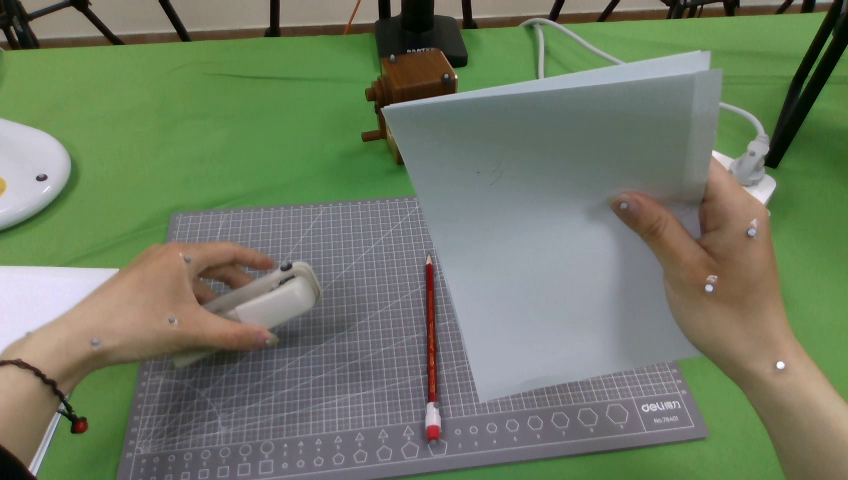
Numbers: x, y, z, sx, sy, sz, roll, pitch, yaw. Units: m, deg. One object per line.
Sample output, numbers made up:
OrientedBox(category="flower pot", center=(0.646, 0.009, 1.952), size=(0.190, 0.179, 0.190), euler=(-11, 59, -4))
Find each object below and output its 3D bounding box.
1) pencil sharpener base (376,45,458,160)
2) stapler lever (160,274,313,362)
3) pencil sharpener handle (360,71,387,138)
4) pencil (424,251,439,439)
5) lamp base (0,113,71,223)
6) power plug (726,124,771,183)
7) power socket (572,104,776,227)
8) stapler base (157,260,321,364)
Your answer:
OrientedBox(category="pencil sharpener base", center=(-0.010, -0.149, 0.670), size=(0.077, 0.108, 0.060), euler=(-13, 50, -13))
OrientedBox(category="stapler lever", center=(-0.143, 0.060, 0.469), size=(0.118, 0.040, 0.027), euler=(-24, 98, -12))
OrientedBox(category="pencil sharpener handle", center=(-0.057, -0.143, 0.644), size=(0.031, 0.068, 0.035), euler=(-14, 28, -13))
OrientedBox(category="pencil", center=(0.005, 0.080, 0.528), size=(0.012, 0.012, 0.192), euler=(1, 47, -1))
OrientedBox(category="lamp base", center=(-0.464, -0.128, 0.583), size=(0.161, 0.182, 0.177), euler=(-30, 53, -26))
OrientedBox(category="power plug", center=(0.352, -0.083, 0.643), size=(0.072, 0.053, 0.035), euler=(-31, 56, -25))
OrientedBox(category="power socket", center=(0.276, -0.088, 0.676), size=(0.225, 0.033, 0.072), euler=(33, 54, 25))
OrientedBox(category="stapler base", center=(-0.148, 0.058, 0.492), size=(0.130, 0.024, 0.041), euler=(-24, 98, -11))
